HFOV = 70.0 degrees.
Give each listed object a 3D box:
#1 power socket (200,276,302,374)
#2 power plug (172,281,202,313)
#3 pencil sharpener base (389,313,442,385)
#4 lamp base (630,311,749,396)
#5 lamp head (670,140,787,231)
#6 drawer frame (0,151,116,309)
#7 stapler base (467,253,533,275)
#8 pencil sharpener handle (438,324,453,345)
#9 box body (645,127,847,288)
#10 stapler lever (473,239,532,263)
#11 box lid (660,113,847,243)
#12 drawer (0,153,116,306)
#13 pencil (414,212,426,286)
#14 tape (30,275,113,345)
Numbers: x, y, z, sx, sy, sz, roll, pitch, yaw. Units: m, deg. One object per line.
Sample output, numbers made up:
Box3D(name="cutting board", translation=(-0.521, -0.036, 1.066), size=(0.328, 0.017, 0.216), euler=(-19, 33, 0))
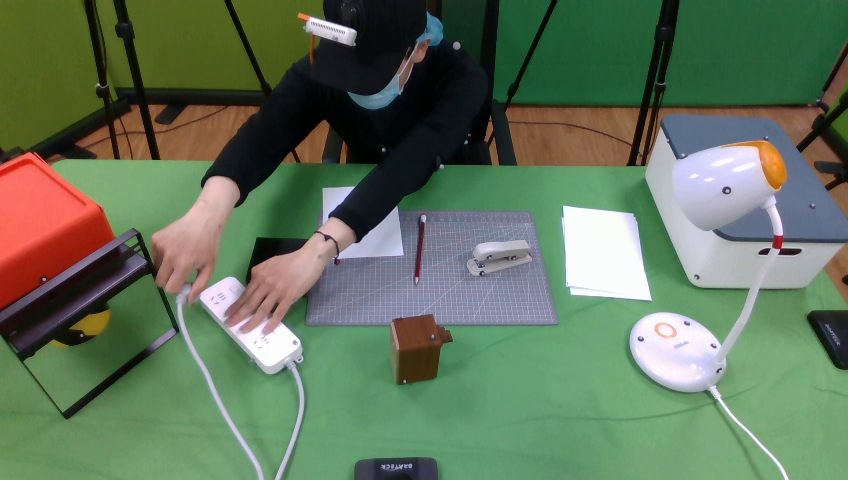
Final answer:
Box3D(name="power socket", translation=(-0.298, 0.141, 1.034), size=(0.225, 0.033, 0.072), euler=(38, 55, 27))
Box3D(name="power plug", translation=(-0.376, 0.095, 0.945), size=(0.035, 0.053, 0.072), euler=(16, 47, 13))
Box3D(name="pencil sharpener base", translation=(-0.013, 0.175, 0.971), size=(0.077, 0.107, 0.061), euler=(-8, 47, -12))
Box3D(name="lamp base", translation=(0.447, 0.143, 0.983), size=(0.161, 0.181, 0.178), euler=(-24, 55, -24))
Box3D(name="lamp head", translation=(0.415, -0.078, 0.811), size=(0.113, 0.123, 0.112), euler=(13, 70, -37))
Box3D(name="drawer frame", translation=(-0.604, -0.013, 0.876), size=(0.201, 0.083, 0.213), euler=(31, 52, 23))
Box3D(name="stapler base", translation=(0.147, 0.034, 1.172), size=(0.131, 0.024, 0.041), euler=(-12, 49, -17))
Box3D(name="pencil sharpener handle", translation=(0.036, 0.155, 0.976), size=(0.031, 0.068, 0.036), euler=(-8, 69, -11))
Box3D(name="box body", translation=(0.625, -0.080, 1.222), size=(0.254, 0.161, 0.361), euler=(0, 46, -3))
Box3D(name="stapler lever", translation=(0.150, 0.017, 1.155), size=(0.118, 0.040, 0.026), euler=(-13, 49, -17))
Box3D(name="box lid", translation=(0.628, -0.133, 1.171), size=(0.263, 0.015, 0.369), euler=(1, 46, -3))
Box3D(name="drawer", translation=(-0.601, -0.015, 0.880), size=(0.193, 0.073, 0.211), euler=(32, 53, 23))
Box3D(name="pencil", translation=(-0.009, 0.014, 1.190), size=(0.012, 0.012, 0.193), euler=(6, 48, 2))
Box3D(name="tape", translation=(-0.594, 0.117, 1.021), size=(0.117, 0.053, 0.116), euler=(3, 46, -3))
